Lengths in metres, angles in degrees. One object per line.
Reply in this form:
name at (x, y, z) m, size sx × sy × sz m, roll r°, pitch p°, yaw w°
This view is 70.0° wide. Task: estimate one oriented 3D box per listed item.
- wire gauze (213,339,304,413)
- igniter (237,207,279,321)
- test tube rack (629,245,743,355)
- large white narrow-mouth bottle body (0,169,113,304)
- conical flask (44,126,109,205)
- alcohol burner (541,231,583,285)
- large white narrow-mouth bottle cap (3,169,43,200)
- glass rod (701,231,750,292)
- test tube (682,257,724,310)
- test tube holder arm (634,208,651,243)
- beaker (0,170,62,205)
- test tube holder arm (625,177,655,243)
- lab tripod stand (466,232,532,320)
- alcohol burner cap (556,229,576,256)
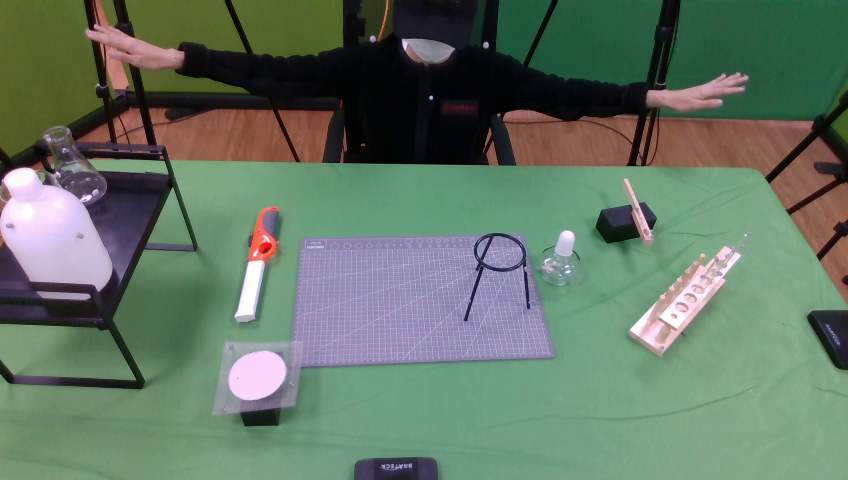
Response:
wire gauze at (-0.250, 0.203, 0.924) m, size 0.121 × 0.011 × 0.124 m, roll -1°, pitch 46°, yaw -3°
igniter at (-0.309, 0.035, 1.136) m, size 0.057 × 0.025 × 0.274 m, roll -7°, pitch 45°, yaw 5°
test tube rack at (0.474, 0.095, 1.091) m, size 0.242 × 0.085 × 0.066 m, roll -34°, pitch 56°, yaw -31°
large white narrow-mouth bottle body at (-0.492, -0.010, 0.801) m, size 0.102 × 0.195 × 0.101 m, roll 2°, pitch 46°, yaw -2°
conical flask at (-0.554, -0.119, 0.953) m, size 0.075 × 0.122 × 0.075 m, roll 2°, pitch 46°, yaw -2°
alcohol burner at (0.258, 0.028, 1.123) m, size 0.078 × 0.120 × 0.077 m, roll 1°, pitch 48°, yaw -1°
large white narrow-mouth bottle cap at (-0.489, -0.068, 0.739) m, size 0.038 × 0.024 × 0.037 m, roll 2°, pitch 46°, yaw -2°
glass rod at (0.519, 0.045, 1.050) m, size 0.008 × 0.201 × 0.008 m, roll 0°, pitch 55°, yaw 0°
test tube at (0.475, 0.080, 1.037) m, size 0.017 × 0.151 × 0.017 m, roll 2°, pitch 51°, yaw -2°
test tube holder arm at (0.428, -0.030, 1.189) m, size 0.010 × 0.015 × 0.087 m, roll 2°, pitch 47°, yaw -2°
beaker at (-0.562, -0.042, 0.894) m, size 0.084 × 0.101 × 0.073 m, roll -2°, pitch 47°, yaw -7°
test tube holder arm at (0.433, -0.063, 1.220) m, size 0.013 × 0.015 × 0.177 m, roll 1°, pitch 47°, yaw -3°
lab tripod stand at (0.125, 0.059, 1.065) m, size 0.148 × 0.132 × 0.147 m, roll 1°, pitch 45°, yaw 0°
alcohol burner cap at (0.260, 0.002, 1.098) m, size 0.034 × 0.048 × 0.033 m, roll 3°, pitch 40°, yaw -2°
